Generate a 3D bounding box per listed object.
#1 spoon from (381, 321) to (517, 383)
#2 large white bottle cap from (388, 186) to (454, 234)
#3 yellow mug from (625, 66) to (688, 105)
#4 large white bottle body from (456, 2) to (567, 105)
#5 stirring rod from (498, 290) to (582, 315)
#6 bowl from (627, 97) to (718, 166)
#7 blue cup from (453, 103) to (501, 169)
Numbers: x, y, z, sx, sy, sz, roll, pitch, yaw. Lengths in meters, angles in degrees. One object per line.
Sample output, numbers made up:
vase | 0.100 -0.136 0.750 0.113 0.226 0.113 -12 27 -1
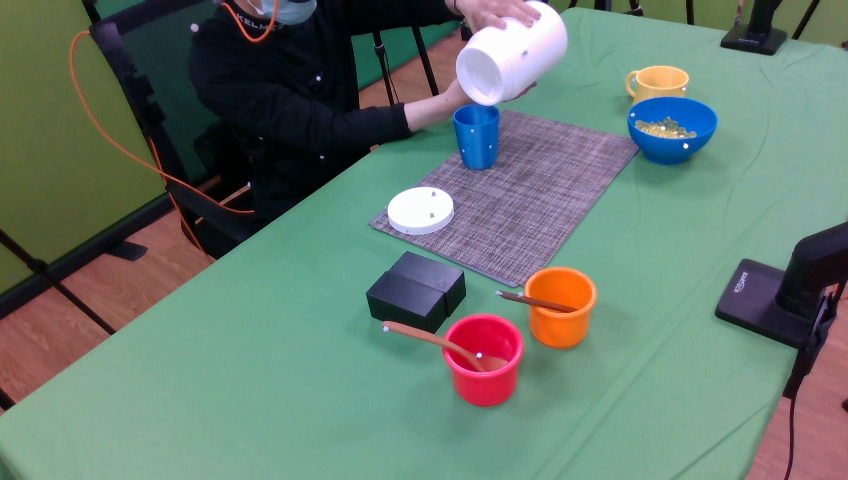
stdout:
spoon | 0.033 0.131 0.725 0.195 0.021 0.041 29 29 -26
large white bottle cap | -0.006 -0.052 1.036 0.115 0.018 0.114 -4 40 4
yellow mug | 0.465 -0.306 1.230 0.100 0.064 0.129 -34 46 -27
large white bottle body | 0.156 -0.333 1.092 0.129 0.131 0.185 27 55 34
stirring rod | 0.152 0.081 0.771 0.178 0.006 0.014 16 19 -44
bowl | 0.439 -0.187 1.087 0.151 0.077 0.150 -4 41 4
blue cup | 0.099 -0.188 1.114 0.092 0.100 0.092 -4 39 4
